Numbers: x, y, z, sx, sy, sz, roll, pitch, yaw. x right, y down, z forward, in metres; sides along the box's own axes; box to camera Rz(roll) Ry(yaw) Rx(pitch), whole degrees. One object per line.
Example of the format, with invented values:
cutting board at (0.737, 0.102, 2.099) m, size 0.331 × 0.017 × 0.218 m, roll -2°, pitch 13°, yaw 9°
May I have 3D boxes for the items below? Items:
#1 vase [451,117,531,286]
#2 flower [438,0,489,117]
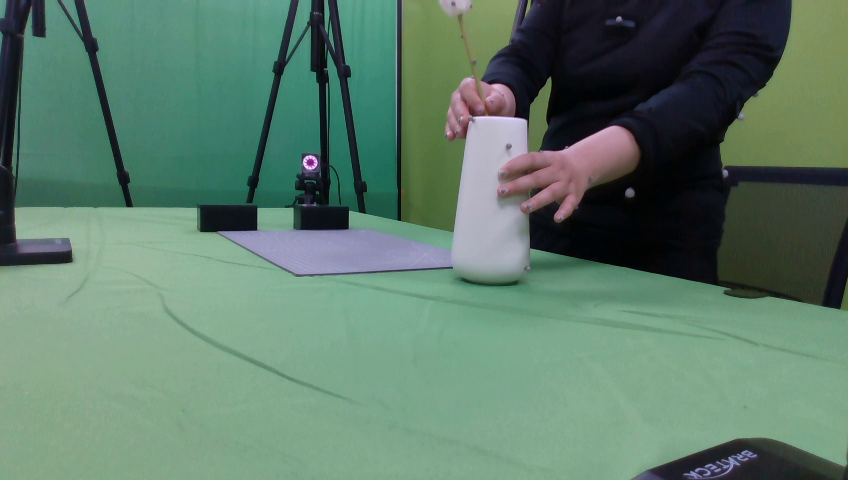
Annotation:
vase at (0.084, -0.047, 0.737) m, size 0.098 × 0.200 × 0.098 m, roll 1°, pitch 6°, yaw 0°
flower at (0.076, -0.156, 0.742) m, size 0.044 × 0.361 × 0.038 m, roll -13°, pitch 5°, yaw 25°
